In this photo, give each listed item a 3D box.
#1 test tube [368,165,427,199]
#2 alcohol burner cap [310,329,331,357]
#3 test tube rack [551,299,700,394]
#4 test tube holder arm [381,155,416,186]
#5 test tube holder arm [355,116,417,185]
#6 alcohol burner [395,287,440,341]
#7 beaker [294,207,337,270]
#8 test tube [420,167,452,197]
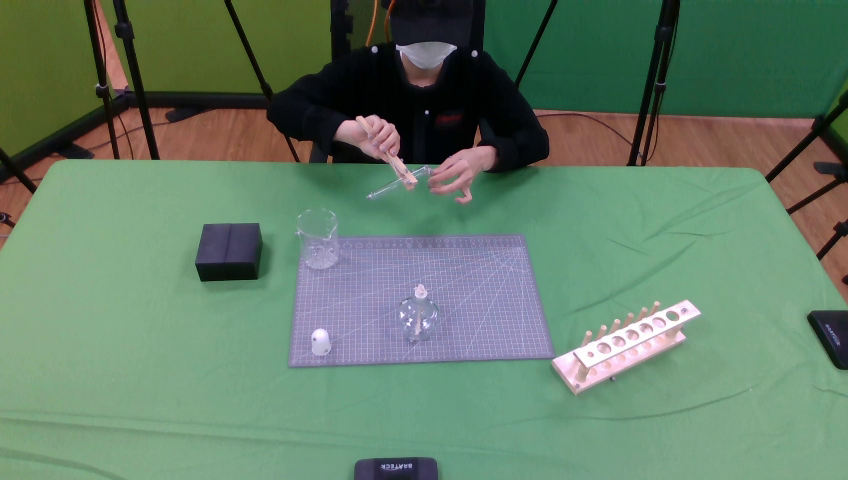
[{"bbox_3d":[-0.046,-0.102,1.066,0.017,0.017,0.150,33,41,25],"label":"test tube"},{"bbox_3d":[-0.173,0.168,1.005,0.034,0.048,0.033,2,46,-2],"label":"alcohol burner cap"},{"bbox_3d":[0.339,0.166,1.021,0.242,0.085,0.066,-19,50,-21],"label":"test tube rack"},{"bbox_3d":[-0.045,-0.128,1.088,0.015,0.010,0.087,-20,57,-43],"label":"test tube holder arm"},{"bbox_3d":[-0.070,-0.165,1.100,0.015,0.013,0.177,-21,65,-42],"label":"test tube holder arm"},{"bbox_3d":[-0.010,0.116,1.018,0.078,0.119,0.077,3,47,-3],"label":"alcohol burner"},{"bbox_3d":[-0.196,0.003,1.123,0.074,0.101,0.083,-23,53,-24],"label":"beaker"},{"bbox_3d":[0.026,-0.111,1.185,0.017,0.151,0.017,-5,75,20],"label":"test tube"}]
